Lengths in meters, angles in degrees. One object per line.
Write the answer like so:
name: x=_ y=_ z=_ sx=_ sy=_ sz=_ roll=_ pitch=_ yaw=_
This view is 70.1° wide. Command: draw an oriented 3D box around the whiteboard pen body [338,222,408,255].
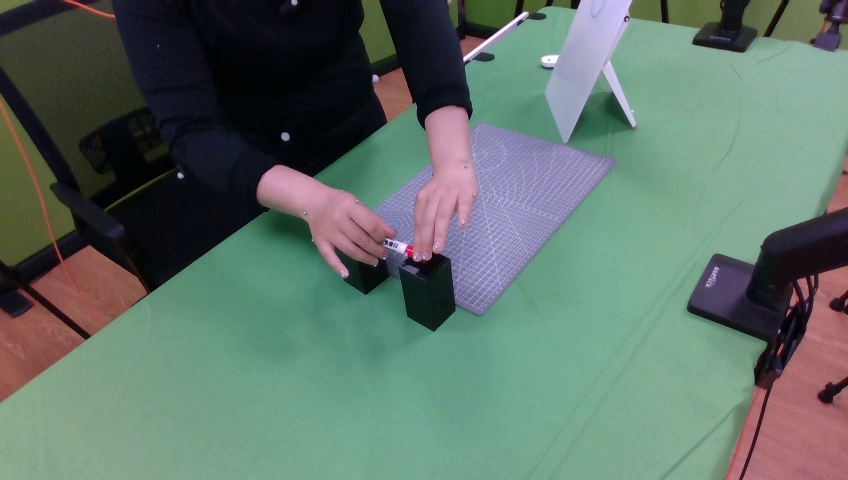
whiteboard pen body: x=-0.061 y=0.000 z=0.826 sx=0.139 sy=0.017 sz=0.017 roll=19 pitch=47 yaw=28

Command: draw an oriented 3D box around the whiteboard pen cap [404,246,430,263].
whiteboard pen cap: x=-0.010 y=0.018 z=0.798 sx=0.032 sy=0.017 sz=0.017 roll=17 pitch=46 yaw=30

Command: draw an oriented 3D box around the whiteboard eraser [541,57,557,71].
whiteboard eraser: x=0.323 y=-0.412 z=1.407 sx=0.101 sy=0.019 sz=0.041 roll=1 pitch=41 yaw=11

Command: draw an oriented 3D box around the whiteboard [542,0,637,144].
whiteboard: x=0.366 y=-0.351 z=1.160 sx=0.144 sy=0.305 sz=0.216 roll=10 pitch=39 yaw=-10
